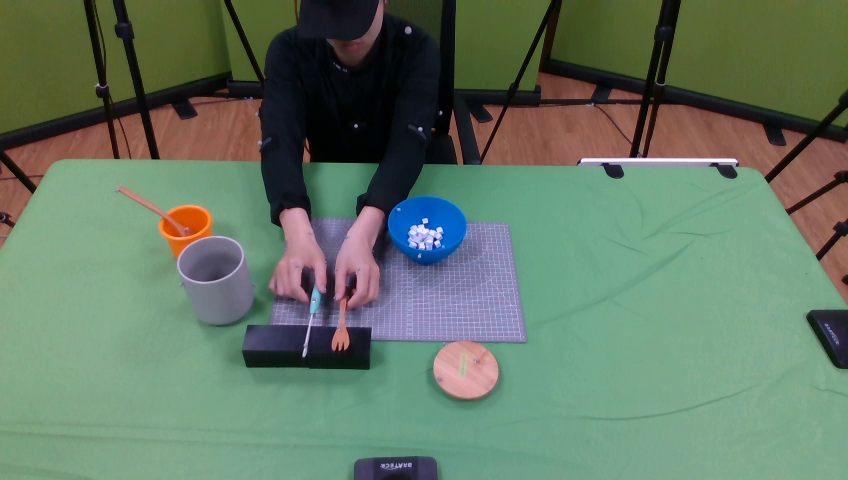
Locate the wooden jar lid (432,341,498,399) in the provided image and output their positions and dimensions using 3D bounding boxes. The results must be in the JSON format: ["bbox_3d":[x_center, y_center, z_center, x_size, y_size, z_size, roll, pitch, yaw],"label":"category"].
[{"bbox_3d":[0.067,0.216,0.997,0.108,0.021,0.107,1,46,-1],"label":"wooden jar lid"}]

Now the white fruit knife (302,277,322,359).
[{"bbox_3d":[-0.189,0.126,1.020,0.016,0.027,0.206,1,33,-4],"label":"white fruit knife"}]

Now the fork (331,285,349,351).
[{"bbox_3d":[-0.139,0.128,1.020,0.028,0.019,0.206,-5,28,-2],"label":"fork"}]

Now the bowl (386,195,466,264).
[{"bbox_3d":[0.003,-0.007,1.162,0.151,0.077,0.150,2,46,-2],"label":"bowl"}]

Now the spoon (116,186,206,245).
[{"bbox_3d":[-0.474,-0.041,1.112,0.021,0.195,0.041,-30,32,30],"label":"spoon"}]

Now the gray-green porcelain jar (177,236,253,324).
[{"bbox_3d":[-0.349,0.073,1.027,0.106,0.127,0.105,2,46,-2],"label":"gray-green porcelain jar"}]
